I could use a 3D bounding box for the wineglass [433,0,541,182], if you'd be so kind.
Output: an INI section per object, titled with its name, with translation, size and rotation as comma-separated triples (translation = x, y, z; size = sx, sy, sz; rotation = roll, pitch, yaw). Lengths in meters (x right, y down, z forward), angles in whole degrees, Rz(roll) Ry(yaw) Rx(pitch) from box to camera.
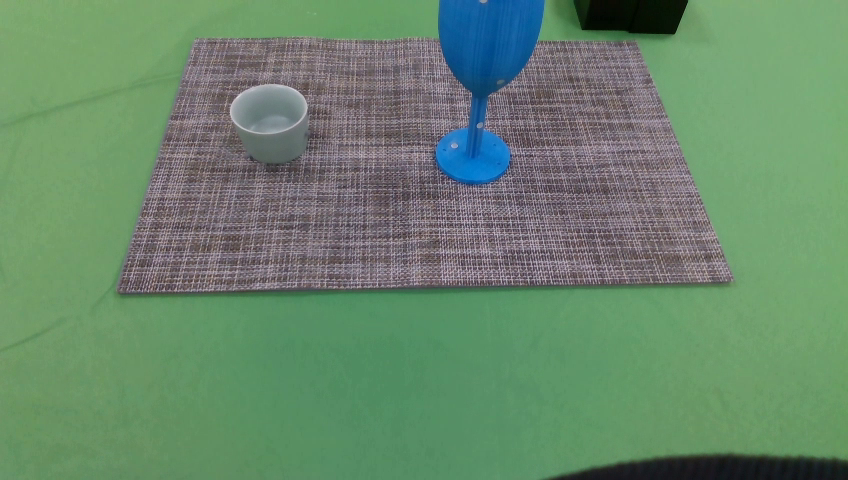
[wineglass]
translation = 0.041, -0.126, 0.452
size = 0.074, 0.174, 0.073
rotation = 1, 53, -1

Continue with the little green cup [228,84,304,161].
[little green cup]
translation = -0.129, -0.097, 0.506
size = 0.061, 0.039, 0.061
rotation = 1, 52, -1
